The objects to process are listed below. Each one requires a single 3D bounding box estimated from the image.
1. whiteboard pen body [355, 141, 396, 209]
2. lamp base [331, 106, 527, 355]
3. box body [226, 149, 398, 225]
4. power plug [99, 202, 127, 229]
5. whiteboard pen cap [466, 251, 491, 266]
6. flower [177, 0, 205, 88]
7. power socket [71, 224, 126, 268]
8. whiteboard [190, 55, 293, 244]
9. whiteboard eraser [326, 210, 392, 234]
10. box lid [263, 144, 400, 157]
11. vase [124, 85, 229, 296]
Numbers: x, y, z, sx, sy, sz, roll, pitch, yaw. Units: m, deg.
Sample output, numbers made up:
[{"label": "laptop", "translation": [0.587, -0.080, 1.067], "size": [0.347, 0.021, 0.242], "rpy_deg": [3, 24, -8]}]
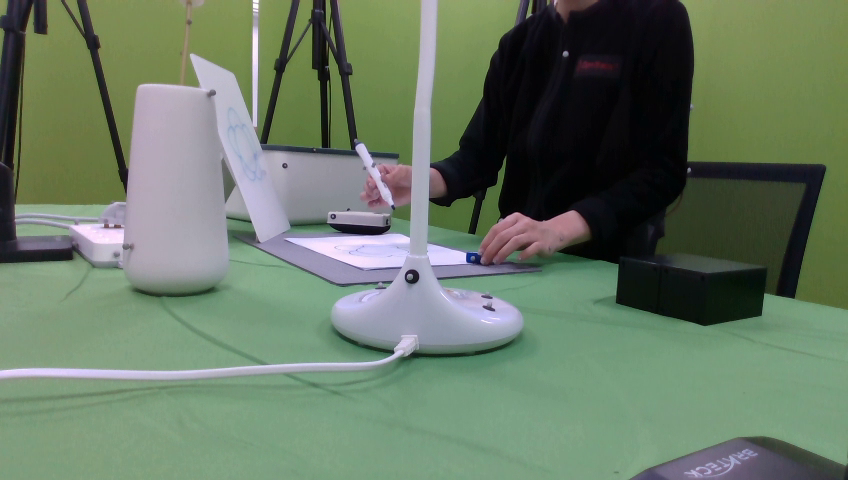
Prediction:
[{"label": "whiteboard pen body", "translation": [-0.075, -0.103, 0.955], "size": [0.017, 0.140, 0.017], "rpy_deg": [-24, -26, -12]}, {"label": "lamp base", "translation": [0.006, -0.012, 0.478], "size": [0.161, 0.180, 0.179], "rpy_deg": [2, 10, 2]}, {"label": "box body", "translation": [-0.265, -0.129, 1.380], "size": [0.253, 0.160, 0.366], "rpy_deg": [8, 9, 39]}, {"label": "power plug", "translation": [-0.415, -0.026, 0.848], "size": [0.073, 0.052, 0.035], "rpy_deg": [6, 5, -28]}, {"label": "whiteboard pen cap", "translation": [0.075, 0.025, 0.840], "size": [0.033, 0.018, 0.018], "rpy_deg": [9, 9, 12]}, {"label": "flower", "translation": [-0.243, -0.131, 0.609], "size": [0.044, 0.361, 0.038], "rpy_deg": [-5, -12, 11]}, {"label": "power socket", "translation": [-0.409, 0.004, 0.793], "size": [0.072, 0.032, 0.225], "rpy_deg": [-2, 8, -37]}, {"label": "whiteboard", "translation": [-0.362, -0.129, 1.029], "size": [0.144, 0.305, 0.217], "rpy_deg": [-18, 7, 3]}, {"label": "whiteboard eraser", "translation": [-0.121, -0.033, 1.131], "size": [0.112, 0.042, 0.056], "rpy_deg": [5, 8, 13]}, {"label": "box lid", "translation": [-0.263, -0.203, 1.369], "size": [0.262, 0.015, 0.373], "rpy_deg": [9, 10, 39]}, {"label": "vase", "translation": [-0.244, -0.047, 0.598], "size": [0.098, 0.200, 0.098], "rpy_deg": [3, 8, 0]}]
